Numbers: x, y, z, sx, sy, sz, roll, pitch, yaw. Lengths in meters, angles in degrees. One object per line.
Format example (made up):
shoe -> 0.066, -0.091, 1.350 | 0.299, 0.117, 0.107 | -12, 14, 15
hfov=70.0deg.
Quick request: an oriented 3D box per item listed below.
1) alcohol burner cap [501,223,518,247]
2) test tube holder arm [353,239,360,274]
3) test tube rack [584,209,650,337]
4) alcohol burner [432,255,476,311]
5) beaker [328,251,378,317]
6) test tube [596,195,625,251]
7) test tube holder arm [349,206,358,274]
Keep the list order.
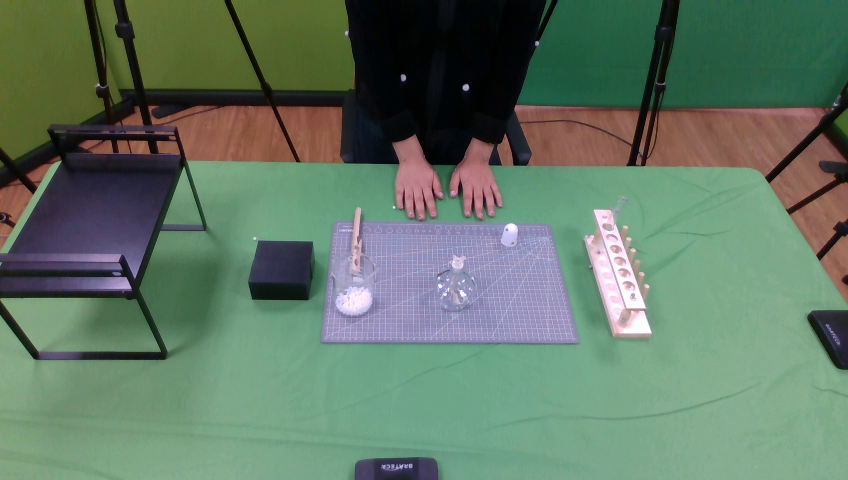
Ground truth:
alcohol burner cap -> 0.172, -0.013, 1.207 | 0.034, 0.048, 0.033 | 1, 46, -1
test tube holder arm -> -0.130, 0.030, 1.159 | 0.010, 0.015, 0.087 | 25, 38, -26
test tube rack -> 0.365, 0.056, 1.129 | 0.067, 0.085, 0.240 | 1, 46, -4
alcohol burner -> 0.055, 0.070, 1.068 | 0.078, 0.119, 0.077 | 3, 45, -3
beaker -> -0.123, 0.079, 1.055 | 0.084, 0.101, 0.073 | 0, 47, -5
test tube -> 0.349, -0.028, 1.141 | 0.017, 0.151, 0.017 | 1, 51, -2
test tube holder arm -> -0.138, -0.004, 1.189 | 0.013, 0.015, 0.177 | 24, 38, -27
